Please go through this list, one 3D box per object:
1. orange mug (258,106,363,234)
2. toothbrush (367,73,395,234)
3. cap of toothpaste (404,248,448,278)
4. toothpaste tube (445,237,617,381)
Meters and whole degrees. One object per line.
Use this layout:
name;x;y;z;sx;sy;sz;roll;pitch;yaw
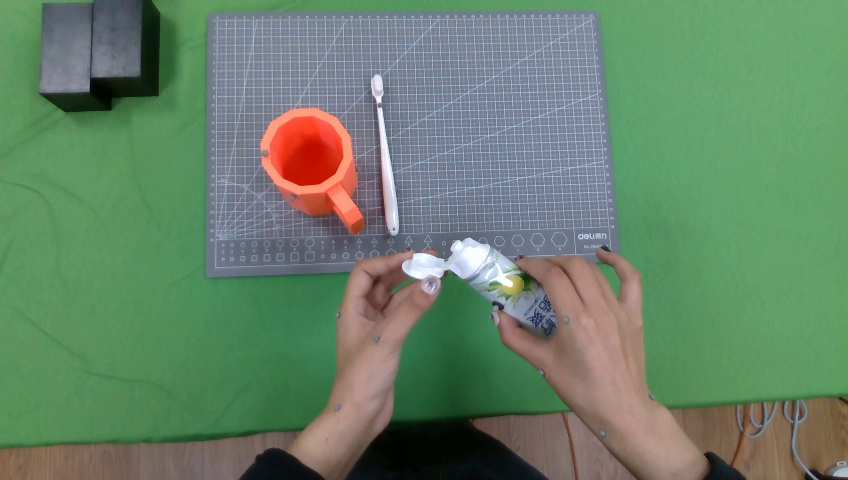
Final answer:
orange mug;-0.106;-0.064;0.616;0.083;0.101;0.125;-36;81;-8
toothbrush;-0.046;-0.096;0.666;0.014;0.016;0.181;-4;83;-20
cap of toothpaste;0.002;0.018;0.486;0.037;0.037;0.011;8;120;-3
toothpaste tube;0.084;0.052;0.495;0.166;0.034;0.055;36;95;-13
